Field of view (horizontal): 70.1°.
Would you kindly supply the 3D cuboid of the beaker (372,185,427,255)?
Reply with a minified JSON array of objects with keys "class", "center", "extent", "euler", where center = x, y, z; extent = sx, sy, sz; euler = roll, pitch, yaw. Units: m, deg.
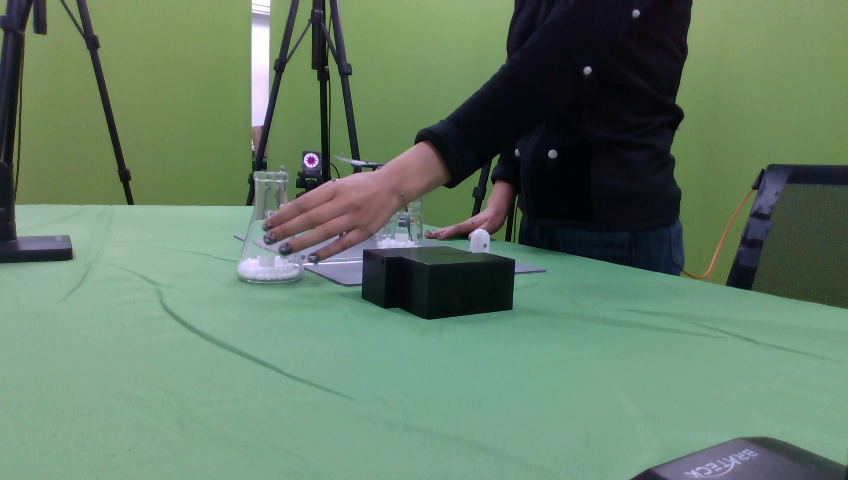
[{"class":"beaker","center":[-0.038,-0.031,0.905],"extent":[0.084,0.100,0.073],"euler":[-1,8,-21]}]

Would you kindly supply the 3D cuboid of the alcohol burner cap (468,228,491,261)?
[{"class":"alcohol burner cap","center":[0.082,0.006,0.878],"extent":[0.034,0.048,0.034],"euler":[3,6,0]}]

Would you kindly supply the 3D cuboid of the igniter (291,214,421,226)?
[{"class":"igniter","center":[-0.135,-0.041,1.250],"extent":[0.278,0.025,0.057],"euler":[-1,-3,-28]}]

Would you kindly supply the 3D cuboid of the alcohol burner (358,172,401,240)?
[{"class":"alcohol burner","center":[-0.078,-0.061,1.065],"extent":[0.078,0.119,0.078],"euler":[4,9,0]}]

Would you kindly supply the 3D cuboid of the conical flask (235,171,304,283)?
[{"class":"conical flask","center":[-0.172,-0.016,0.677],"extent":[0.075,0.122,0.075],"euler":[2,7,0]}]

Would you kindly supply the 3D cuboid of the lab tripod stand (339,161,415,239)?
[{"class":"lab tripod stand","center":[-0.082,-0.070,1.060],"extent":[0.148,0.131,0.148],"euler":[4,6,0]}]

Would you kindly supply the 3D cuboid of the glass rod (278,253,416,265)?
[{"class":"glass rod","center":[-0.097,0.024,0.805],"extent":[0.201,0.008,0.008],"euler":[-2,8,-32]}]

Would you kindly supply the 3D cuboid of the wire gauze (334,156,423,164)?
[{"class":"wire gauze","center":[-0.081,-0.137,1.051],"extent":[0.122,0.011,0.124],"euler":[0,8,-30]}]
